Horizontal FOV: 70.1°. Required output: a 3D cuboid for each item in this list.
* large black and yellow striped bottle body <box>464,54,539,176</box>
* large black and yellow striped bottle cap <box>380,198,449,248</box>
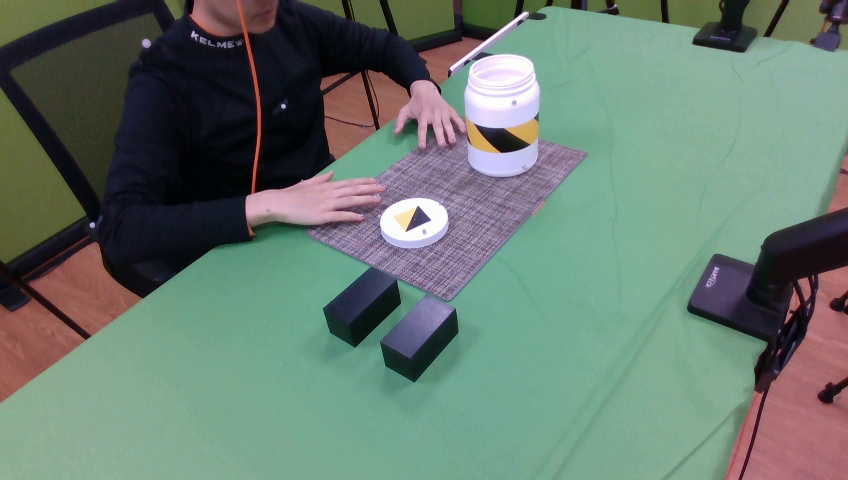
[{"bbox_3d":[0.139,-0.221,1.075,0.131,0.185,0.130,-4,41,4],"label":"large black and yellow striped bottle body"},{"bbox_3d":[-0.016,-0.030,1.004,0.115,0.019,0.114,-5,40,4],"label":"large black and yellow striped bottle cap"}]
